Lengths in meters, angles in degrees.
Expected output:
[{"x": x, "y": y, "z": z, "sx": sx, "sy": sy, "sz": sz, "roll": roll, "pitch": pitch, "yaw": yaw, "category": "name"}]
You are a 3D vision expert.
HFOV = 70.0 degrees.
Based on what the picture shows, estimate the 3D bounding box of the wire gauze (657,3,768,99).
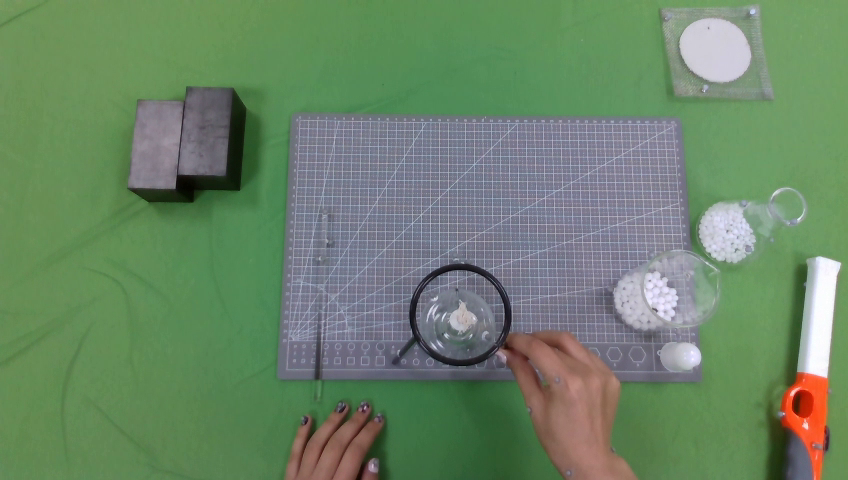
[{"x": 0.345, "y": -0.226, "z": 0.723, "sx": 0.125, "sy": 0.011, "sz": 0.121, "roll": -1, "pitch": 79, "yaw": -3, "category": "wire gauze"}]

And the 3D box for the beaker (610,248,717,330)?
[{"x": 0.239, "y": 0.052, "z": 0.615, "sx": 0.084, "sy": 0.100, "sz": 0.073, "roll": -23, "pitch": 79, "yaw": -6, "category": "beaker"}]

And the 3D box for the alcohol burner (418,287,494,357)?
[{"x": 0.032, "y": 0.082, "z": 0.598, "sx": 0.078, "sy": 0.119, "sz": 0.077, "roll": 0, "pitch": 77, "yaw": 1, "category": "alcohol burner"}]

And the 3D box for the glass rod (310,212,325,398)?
[{"x": -0.114, "y": 0.068, "z": 0.650, "sx": 0.008, "sy": 0.008, "sz": 0.199, "roll": 2, "pitch": 81, "yaw": -1, "category": "glass rod"}]

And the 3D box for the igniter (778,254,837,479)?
[{"x": 0.403, "y": 0.150, "z": 0.638, "sx": 0.057, "sy": 0.025, "sz": 0.275, "roll": 16, "pitch": 78, "yaw": -8, "category": "igniter"}]

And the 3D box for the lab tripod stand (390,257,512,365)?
[{"x": 0.028, "y": 0.080, "z": 0.587, "sx": 0.148, "sy": 0.132, "sz": 0.148, "roll": 0, "pitch": 80, "yaw": 0, "category": "lab tripod stand"}]

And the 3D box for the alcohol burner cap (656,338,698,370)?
[{"x": 0.267, "y": 0.118, "z": 0.631, "sx": 0.034, "sy": 0.048, "sz": 0.033, "roll": 0, "pitch": 78, "yaw": -1, "category": "alcohol burner cap"}]

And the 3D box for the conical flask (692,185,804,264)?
[{"x": 0.336, "y": -0.022, "z": 0.623, "sx": 0.075, "sy": 0.122, "sz": 0.075, "roll": 0, "pitch": 78, "yaw": 0, "category": "conical flask"}]
